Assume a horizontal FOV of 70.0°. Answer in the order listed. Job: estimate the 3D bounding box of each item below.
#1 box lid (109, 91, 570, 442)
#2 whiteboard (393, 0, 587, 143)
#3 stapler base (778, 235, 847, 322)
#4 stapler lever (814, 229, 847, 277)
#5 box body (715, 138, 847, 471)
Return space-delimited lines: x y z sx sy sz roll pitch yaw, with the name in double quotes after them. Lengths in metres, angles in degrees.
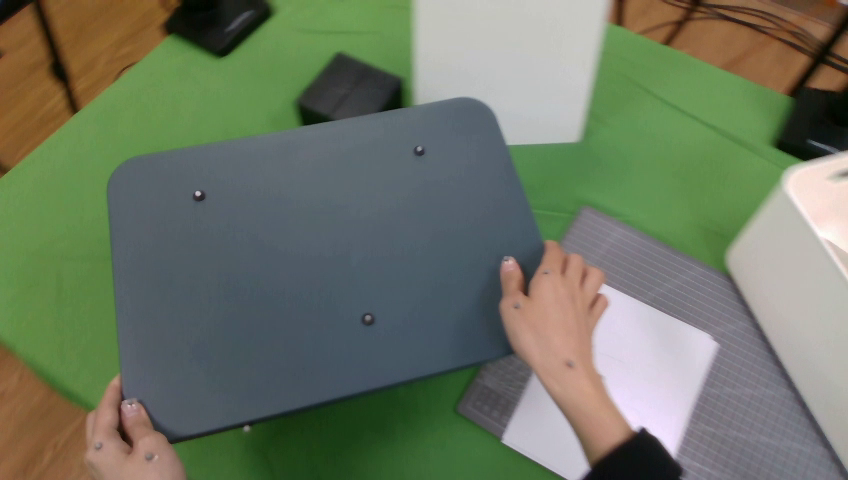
-0.081 0.005 0.530 0.372 0.015 0.261 -13 68 -8 "box lid"
0.072 -0.285 0.742 0.217 0.308 0.142 -3 41 -1 "whiteboard"
0.462 0.046 0.679 0.041 0.024 0.129 -27 64 -17 "stapler base"
0.461 0.031 0.657 0.027 0.040 0.117 -27 63 -17 "stapler lever"
0.495 0.082 0.586 0.254 0.161 0.360 -16 62 -9 "box body"
